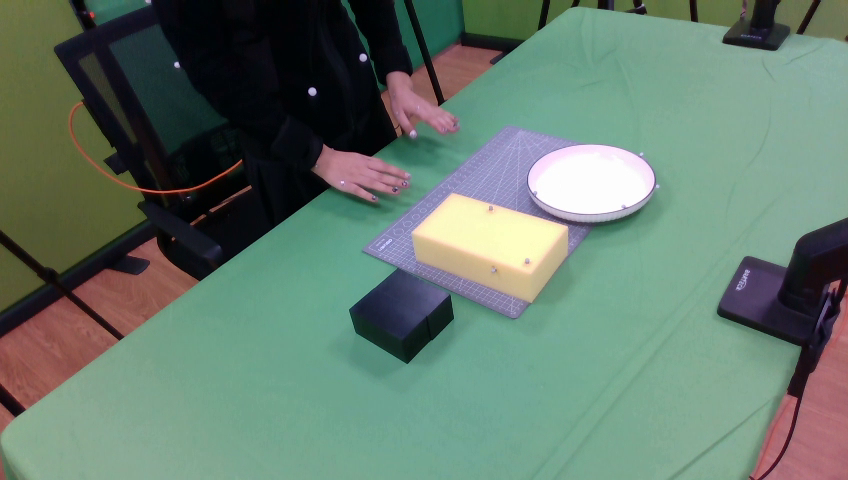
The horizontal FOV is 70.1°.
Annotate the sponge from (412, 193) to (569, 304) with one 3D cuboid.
[{"bbox_3d":[0.100,0.007,0.922,0.205,0.061,0.118,19,48,29],"label":"sponge"}]

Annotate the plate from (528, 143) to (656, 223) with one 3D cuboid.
[{"bbox_3d":[0.281,-0.093,1.023,0.209,0.038,0.208,-5,40,5],"label":"plate"}]
